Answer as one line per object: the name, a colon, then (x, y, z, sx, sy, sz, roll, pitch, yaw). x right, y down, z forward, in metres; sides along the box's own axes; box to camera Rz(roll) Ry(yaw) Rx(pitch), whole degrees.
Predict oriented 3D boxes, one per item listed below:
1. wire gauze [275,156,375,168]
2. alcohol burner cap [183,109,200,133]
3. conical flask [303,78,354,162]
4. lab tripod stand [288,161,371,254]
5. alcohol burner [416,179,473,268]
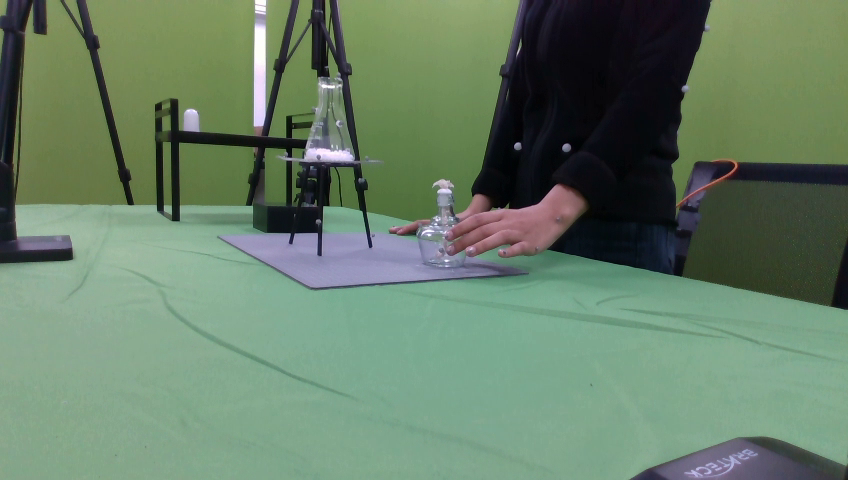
wire gauze: (-0.142, -0.116, 0.899, 0.122, 0.011, 0.124, -1, 5, -36)
alcohol burner cap: (-0.472, -0.241, 1.229, 0.034, 0.048, 0.034, 3, 8, 0)
conical flask: (-0.140, -0.175, 0.892, 0.075, 0.122, 0.075, 2, 7, 0)
lab tripod stand: (-0.148, -0.052, 0.908, 0.148, 0.131, 0.148, 1, 8, 0)
alcohol burner: (0.027, -0.022, 0.816, 0.078, 0.119, 0.078, 1, 7, 0)
